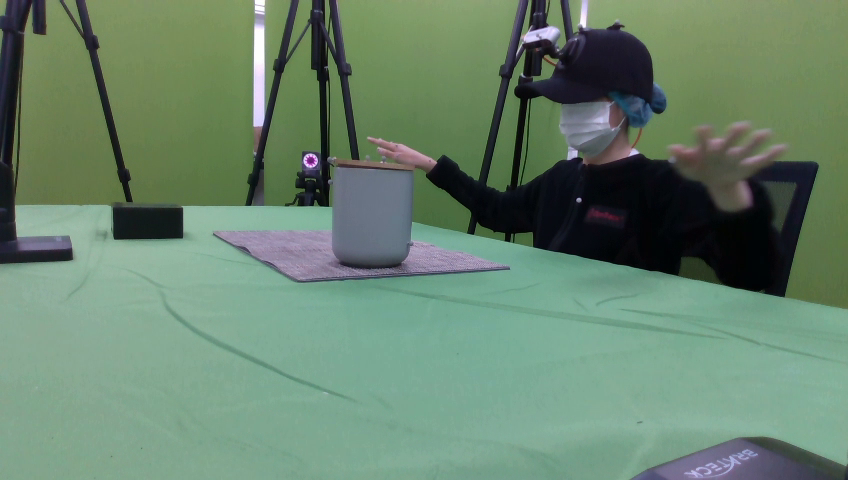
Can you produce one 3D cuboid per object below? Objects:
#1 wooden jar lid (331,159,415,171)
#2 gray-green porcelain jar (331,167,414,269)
[{"bbox_3d":[-0.066,-0.091,0.783,0.108,0.020,0.108,5,8,0],"label":"wooden jar lid"},{"bbox_3d":[-0.068,-0.030,0.791,0.106,0.126,0.106,3,7,0],"label":"gray-green porcelain jar"}]
